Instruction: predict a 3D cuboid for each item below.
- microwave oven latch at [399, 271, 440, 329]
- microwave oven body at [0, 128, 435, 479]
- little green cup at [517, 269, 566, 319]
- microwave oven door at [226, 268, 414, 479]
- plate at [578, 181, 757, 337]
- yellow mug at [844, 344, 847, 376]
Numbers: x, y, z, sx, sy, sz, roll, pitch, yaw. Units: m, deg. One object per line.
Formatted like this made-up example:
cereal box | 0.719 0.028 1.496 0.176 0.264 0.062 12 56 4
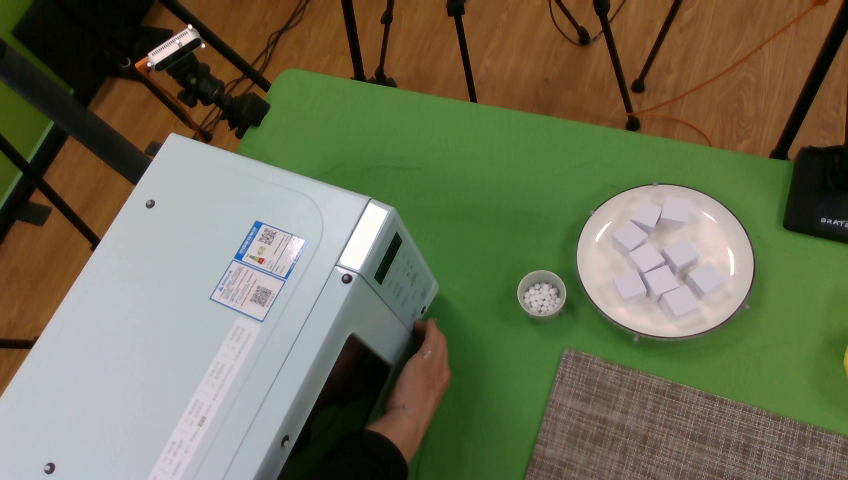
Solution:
microwave oven latch | -0.009 0.075 0.790 0.030 0.030 0.079 27 76 22
microwave oven body | -0.233 0.146 0.704 0.324 0.262 0.440 19 73 20
little green cup | 0.151 0.072 0.774 0.061 0.039 0.061 -5 66 12
microwave oven door | -0.124 0.225 0.637 0.039 0.246 0.354 19 72 20
plate | 0.300 0.025 0.761 0.207 0.039 0.206 -5 66 11
yellow mug | 0.520 0.143 0.641 0.100 0.064 0.129 -11 65 8
